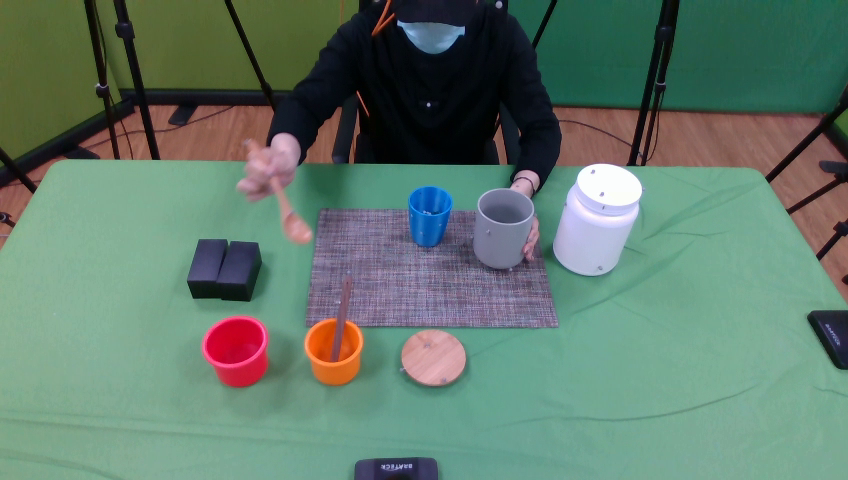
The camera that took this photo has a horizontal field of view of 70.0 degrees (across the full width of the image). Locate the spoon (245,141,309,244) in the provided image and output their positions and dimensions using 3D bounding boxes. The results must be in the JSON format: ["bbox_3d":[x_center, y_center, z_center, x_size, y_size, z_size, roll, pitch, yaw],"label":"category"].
[{"bbox_3d":[-0.236,-0.077,0.963,0.041,0.021,0.193,-21,82,-42],"label":"spoon"}]

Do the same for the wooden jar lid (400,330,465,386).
[{"bbox_3d":[0.015,0.198,1.008,0.108,0.021,0.107,2,47,-2],"label":"wooden jar lid"}]

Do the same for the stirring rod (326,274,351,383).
[{"bbox_3d":[-0.137,0.142,0.972,0.014,0.006,0.176,9,89,0],"label":"stirring rod"}]

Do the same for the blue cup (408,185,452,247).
[{"bbox_3d":[0.008,-0.041,1.176,0.093,0.101,0.092,3,47,-3],"label":"blue cup"}]

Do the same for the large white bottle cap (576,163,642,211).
[{"bbox_3d":[0.330,-0.096,1.080,0.115,0.018,0.114,2,46,-2],"label":"large white bottle cap"}]

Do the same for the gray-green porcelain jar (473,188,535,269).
[{"bbox_3d":[0.147,-0.017,1.138,0.106,0.127,0.105,1,43,-1],"label":"gray-green porcelain jar"}]

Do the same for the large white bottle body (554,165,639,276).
[{"bbox_3d":[0.326,-0.037,1.141,0.131,0.185,0.130,2,46,-2],"label":"large white bottle body"}]
